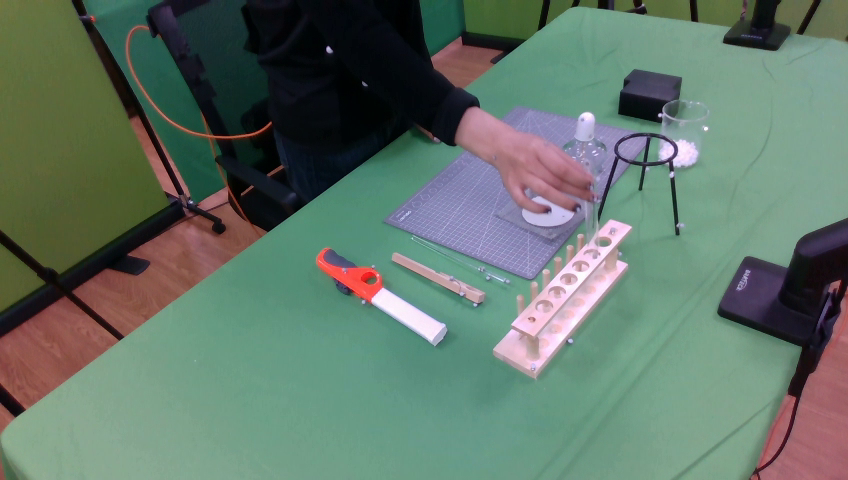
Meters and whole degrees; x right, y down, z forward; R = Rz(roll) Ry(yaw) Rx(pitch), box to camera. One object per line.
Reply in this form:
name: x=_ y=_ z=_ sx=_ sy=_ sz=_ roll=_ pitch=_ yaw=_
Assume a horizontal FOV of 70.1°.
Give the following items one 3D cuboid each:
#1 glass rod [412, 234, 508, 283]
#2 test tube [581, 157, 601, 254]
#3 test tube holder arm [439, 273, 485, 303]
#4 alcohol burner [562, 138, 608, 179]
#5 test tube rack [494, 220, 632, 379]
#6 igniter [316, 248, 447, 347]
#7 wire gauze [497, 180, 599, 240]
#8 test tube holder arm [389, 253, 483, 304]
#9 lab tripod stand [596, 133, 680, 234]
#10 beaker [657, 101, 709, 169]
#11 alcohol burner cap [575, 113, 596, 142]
glass rod: x=0.052 y=0.028 z=0.952 sx=0.198 sy=0.008 sz=0.008 roll=26 pitch=52 yaw=37
test tube: x=0.211 y=-0.039 z=0.761 sx=0.017 sy=0.151 sz=0.017 roll=-10 pitch=39 yaw=9
test tube holder arm: x=0.053 y=0.071 z=0.896 sx=0.087 sy=0.015 sz=0.010 roll=24 pitch=15 yaw=34
alcohol burner: x=0.280 y=-0.166 z=1.052 sx=0.078 sy=0.119 sz=0.077 roll=-5 pitch=38 yaw=4
test tube rack: x=0.191 y=0.068 z=0.818 sx=0.066 sy=0.085 sz=0.243 roll=25 pitch=51 yaw=35
igniter: x=-0.074 y=0.079 z=0.902 sx=0.274 sy=0.025 sz=0.057 roll=29 pitch=64 yaw=36
wire gauze: x=0.207 y=-0.050 z=1.012 sx=0.125 sy=0.011 sz=0.120 roll=-34 pitch=45 yaw=-26
test tube holder arm: x=0.015 y=0.056 z=0.916 sx=0.177 sy=0.015 sz=0.013 roll=24 pitch=15 yaw=33
lab tripod stand: x=0.338 y=-0.091 z=0.940 sx=0.148 sy=0.132 sz=0.147 roll=-7 pitch=39 yaw=6
beaker: x=0.449 y=-0.183 z=1.054 sx=0.073 sy=0.101 sz=0.084 roll=16 pitch=45 yaw=27
alcohol burner cap: x=0.277 y=-0.194 z=1.028 sx=0.034 sy=0.048 sz=0.033 roll=-2 pitch=45 yaw=2
